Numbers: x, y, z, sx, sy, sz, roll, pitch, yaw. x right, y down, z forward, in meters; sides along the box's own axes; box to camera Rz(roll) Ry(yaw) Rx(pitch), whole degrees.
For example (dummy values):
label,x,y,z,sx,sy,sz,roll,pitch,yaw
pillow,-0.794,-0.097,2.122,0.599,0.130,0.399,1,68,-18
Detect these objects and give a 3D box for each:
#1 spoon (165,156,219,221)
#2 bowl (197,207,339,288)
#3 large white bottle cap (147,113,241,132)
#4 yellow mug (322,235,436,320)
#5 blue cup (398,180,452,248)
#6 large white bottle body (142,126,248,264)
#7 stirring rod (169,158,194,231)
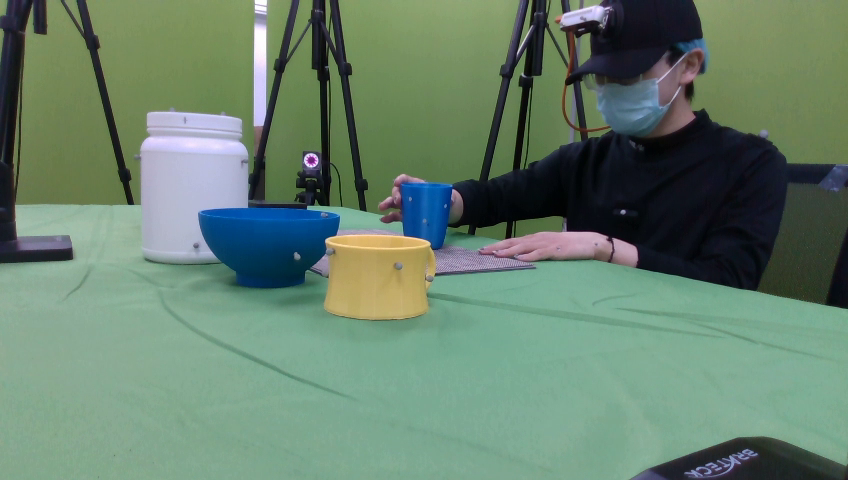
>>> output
label,x,y,z,sx,sy,sz,roll,pitch,yaw
spoon,-0.451,-0.104,1.193,0.041,0.022,0.193,4,51,18
bowl,-0.171,0.008,0.671,0.151,0.077,0.151,2,7,0
large white bottle cap,-0.297,-0.151,0.786,0.115,0.018,0.115,2,7,0
yellow mug,-0.034,0.031,0.581,0.099,0.064,0.131,8,8,42
blue cup,0.000,-0.042,0.963,0.093,0.100,0.092,2,11,0
large white bottle body,-0.300,-0.068,0.797,0.131,0.184,0.130,2,7,0
stirring rod,-0.424,-0.082,1.060,0.014,0.006,0.175,2,50,-9
